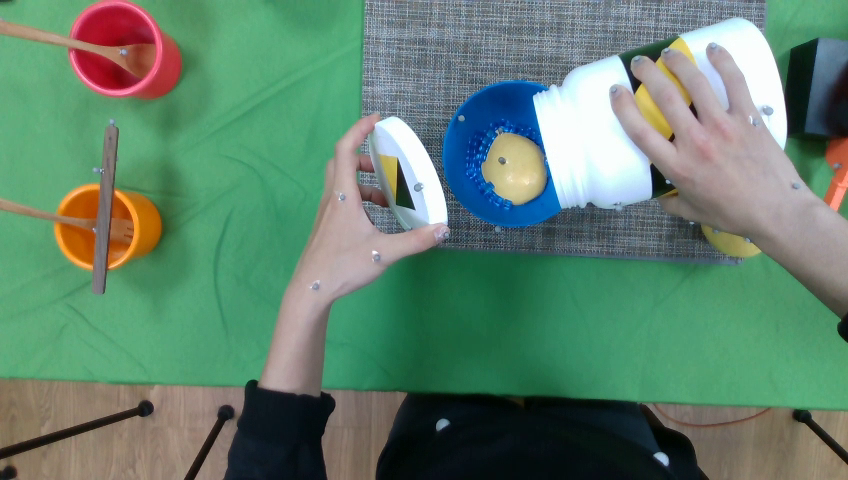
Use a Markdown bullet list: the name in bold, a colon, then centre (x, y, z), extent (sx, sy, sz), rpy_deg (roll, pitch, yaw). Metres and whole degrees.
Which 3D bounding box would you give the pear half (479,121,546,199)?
- **pear half**: centre (0.095, -0.089, 0.650), extent (0.070, 0.031, 0.088), rpy_deg (-23, 91, -2)

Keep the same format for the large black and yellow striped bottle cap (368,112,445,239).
- **large black and yellow striped bottle cap**: centre (-0.017, -0.056, 0.536), extent (0.019, 0.114, 0.115), rpy_deg (-24, 95, -18)

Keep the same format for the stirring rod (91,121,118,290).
- **stirring rod**: centre (-0.331, -0.034, 0.626), extent (0.014, 0.006, 0.176), rpy_deg (7, 96, -4)

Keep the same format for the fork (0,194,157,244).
- **fork**: centre (-0.383, -0.029, 0.628), extent (0.209, 0.018, 0.028), rpy_deg (18, 106, -45)

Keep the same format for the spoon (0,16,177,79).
- **spoon**: centre (-0.353, -0.203, 0.616), extent (0.195, 0.021, 0.041), rpy_deg (4, 99, -44)

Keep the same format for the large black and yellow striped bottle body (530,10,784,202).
- **large black and yellow striped bottle body**: centre (0.196, -0.108, 0.534), extent (0.184, 0.131, 0.131), rpy_deg (-15, 95, 15)

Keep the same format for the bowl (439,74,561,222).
- **bowl**: centre (0.091, -0.096, 0.655), extent (0.151, 0.076, 0.151), rpy_deg (0, 95, 0)

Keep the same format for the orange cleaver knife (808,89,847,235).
- **orange cleaver knife**: centre (0.456, -0.106, 0.657), extent (0.012, 0.076, 0.213), rpy_deg (5, 124, 5)

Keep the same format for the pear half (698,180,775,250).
- **pear half**: centre (0.332, -0.024, 0.648), extent (0.056, 0.110, 0.076), rpy_deg (-17, 91, 2)
